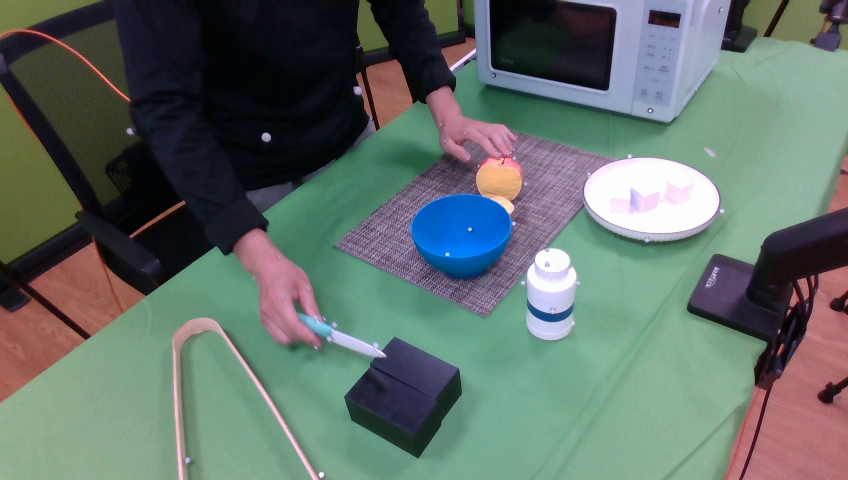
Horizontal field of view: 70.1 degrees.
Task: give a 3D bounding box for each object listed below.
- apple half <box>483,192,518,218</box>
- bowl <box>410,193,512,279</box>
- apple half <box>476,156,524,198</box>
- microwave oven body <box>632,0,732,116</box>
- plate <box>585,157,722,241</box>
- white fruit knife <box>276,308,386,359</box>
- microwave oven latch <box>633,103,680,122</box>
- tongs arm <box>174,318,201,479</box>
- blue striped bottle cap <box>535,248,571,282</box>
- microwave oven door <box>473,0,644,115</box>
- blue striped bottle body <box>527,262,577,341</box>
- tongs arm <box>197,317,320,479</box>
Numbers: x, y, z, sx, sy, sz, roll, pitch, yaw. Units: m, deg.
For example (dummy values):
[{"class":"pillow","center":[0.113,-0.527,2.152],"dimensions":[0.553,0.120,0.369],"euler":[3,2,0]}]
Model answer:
[{"class":"apple half","center":[0.116,-0.045,0.983],"dimensions":[0.081,0.033,0.081],"euler":[-9,34,7]},{"class":"bowl","center":[0.058,0.005,0.905],"dimensions":[0.151,0.077,0.150],"euler":[-4,40,4]},{"class":"apple half","center":[0.131,-0.108,1.030],"dimensions":[0.080,0.075,0.053],"euler":[7,34,12]},{"class":"microwave oven body","center":[0.377,-0.463,1.267],"dimensions":[0.438,0.261,0.327],"euler":[21,49,30]},{"class":"plate","center":[0.367,-0.063,0.979],"dimensions":[0.207,0.039,0.206],"euler":[-4,40,4]},{"class":"white fruit knife","center":[-0.122,0.118,0.771],"dimensions":[0.205,0.027,0.016],"euler":[12,38,38]},{"class":"microwave oven latch","center":[0.444,-0.249,1.158],"dimensions":[0.078,0.029,0.030],"euler":[21,49,30]},{"class":"tongs arm","center":[-0.272,0.234,0.723],"dimensions":[0.051,0.026,0.381],"euler":[-19,40,-14]},{"class":"blue striped bottle cap","center":[0.161,0.031,0.753],"dimensions":[0.044,0.021,0.044],"euler":[-4,42,4]},{"class":"microwave oven door","center":[0.257,-0.396,1.199],"dimensions":[0.353,0.245,0.039],"euler":[21,48,29]},{"class":"blue striped bottle body","center":[0.165,0.070,0.786],"dimensions":[0.063,0.121,0.063],"euler":[-4,41,4]},{"class":"tongs arm","center":[-0.199,0.206,0.750],"dimensions":[0.028,0.028,0.384],"euler":[-31,45,-22]}]
